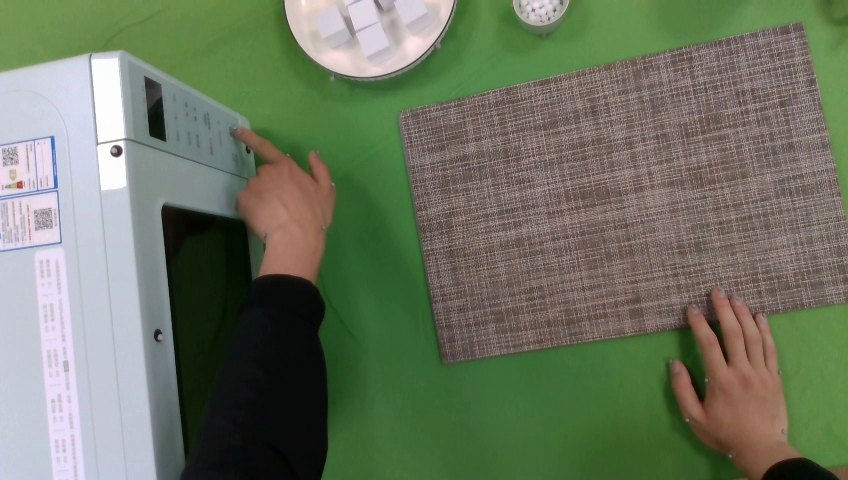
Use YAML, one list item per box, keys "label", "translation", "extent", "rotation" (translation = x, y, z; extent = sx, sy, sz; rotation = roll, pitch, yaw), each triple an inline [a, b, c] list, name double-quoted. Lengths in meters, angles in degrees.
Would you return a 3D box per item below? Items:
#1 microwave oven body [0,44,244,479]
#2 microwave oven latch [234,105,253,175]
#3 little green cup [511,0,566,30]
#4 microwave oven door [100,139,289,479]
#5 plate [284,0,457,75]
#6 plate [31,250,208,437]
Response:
- label: "microwave oven body"
  translation: [-0.364, 0.073, 0.638]
  extent: [0.325, 0.261, 0.441]
  rotation: [-8, 88, 9]
- label: "microwave oven latch"
  translation: [-0.223, -0.117, 0.717]
  extent: [0.030, 0.029, 0.079]
  rotation: [-7, 88, 9]
- label: "little green cup"
  translation: [0.129, -0.268, 0.679]
  extent: [0.061, 0.039, 0.061]
  rotation: [0, 88, 10]
- label: "microwave oven door"
  translation: [-0.217, 0.097, 0.607]
  extent: [0.039, 0.244, 0.355]
  rotation: [-8, 87, 9]
- label: "plate"
  translation: [-0.060, -0.293, 0.712]
  extent: [0.207, 0.039, 0.207]
  rotation: [0, 88, 10]
- label: "plate"
  translation: [-0.338, 0.114, 0.685]
  extent: [0.209, 0.038, 0.209]
  rotation: [0, 88, 9]
